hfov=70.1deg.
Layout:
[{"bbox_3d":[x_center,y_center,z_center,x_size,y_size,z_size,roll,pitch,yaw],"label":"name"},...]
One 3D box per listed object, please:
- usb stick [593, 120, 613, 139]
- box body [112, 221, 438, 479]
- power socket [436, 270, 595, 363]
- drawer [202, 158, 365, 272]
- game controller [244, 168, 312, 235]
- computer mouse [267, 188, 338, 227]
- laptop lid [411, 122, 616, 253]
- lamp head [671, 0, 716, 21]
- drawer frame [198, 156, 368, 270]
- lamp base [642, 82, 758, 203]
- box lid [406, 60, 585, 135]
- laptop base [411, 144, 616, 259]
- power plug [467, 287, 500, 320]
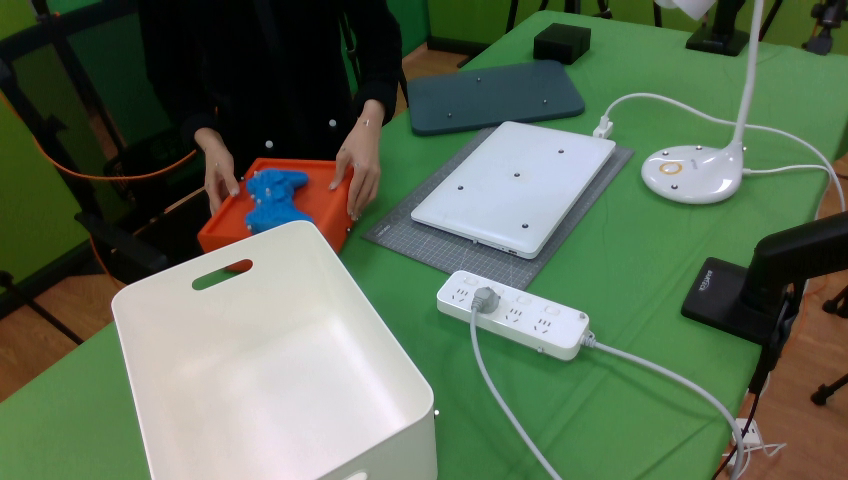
[{"bbox_3d":[0.336,-0.201,1.147,0.021,0.027,0.059,26,53,27],"label":"usb stick"},{"bbox_3d":[-0.170,0.168,0.693,0.255,0.161,0.360,-24,43,-19],"label":"box body"},{"bbox_3d":[0.118,0.101,0.832,0.225,0.033,0.072,19,48,27],"label":"power socket"},{"bbox_3d":[-0.222,-0.047,0.996,0.194,0.073,0.211,4,43,14],"label":"drawer"},{"bbox_3d":[-0.229,-0.065,0.939,0.097,0.052,0.154,-15,40,-2],"label":"game controller"},{"bbox_3d":[-0.208,-0.057,1.029,0.116,0.041,0.063,12,42,18],"label":"computer mouse"},{"bbox_3d":[0.165,-0.111,1.067,0.240,0.013,0.357,19,46,31],"label":"laptop lid"},{"bbox_3d":[0.375,-0.373,0.807,0.122,0.113,0.112,-40,27,32],"label":"lamp head"},{"bbox_3d":[-0.221,-0.046,0.994,0.201,0.083,0.213,4,42,14],"label":"drawer frame"},{"bbox_3d":[0.464,-0.174,0.992,0.179,0.181,0.159,-5,41,-1],"label":"lamp base"},{"bbox_3d":[0.150,-0.320,1.340,0.372,0.015,0.261,-8,40,0],"label":"box lid"},{"bbox_3d":[0.168,-0.101,1.073,0.234,0.023,0.355,17,46,30],"label":"laptop base"},{"bbox_3d":[0.073,0.092,0.814,0.035,0.053,0.073,29,54,34],"label":"power plug"}]
